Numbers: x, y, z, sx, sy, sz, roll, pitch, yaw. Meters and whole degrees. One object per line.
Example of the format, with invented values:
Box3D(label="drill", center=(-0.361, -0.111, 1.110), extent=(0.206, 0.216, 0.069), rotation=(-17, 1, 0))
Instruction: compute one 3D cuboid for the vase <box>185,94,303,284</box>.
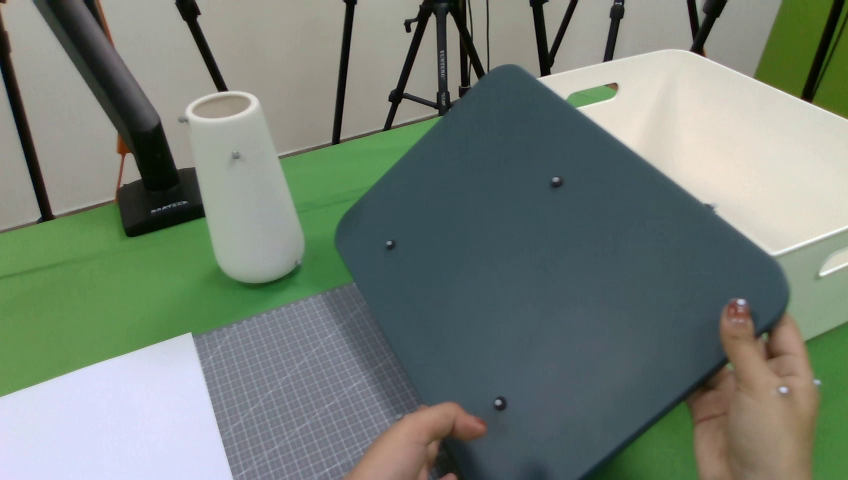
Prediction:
Box3D(label="vase", center=(-0.191, -0.049, 0.645), extent=(0.098, 0.202, 0.097), rotation=(-3, 36, 3))

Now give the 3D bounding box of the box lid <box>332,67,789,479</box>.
Box3D(label="box lid", center=(0.070, 0.014, 0.516), extent=(0.263, 0.015, 0.367), rotation=(-44, 47, 7))

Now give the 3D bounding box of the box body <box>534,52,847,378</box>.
Box3D(label="box body", center=(0.279, -0.051, 0.646), extent=(0.255, 0.162, 0.359), rotation=(-17, 39, -18))

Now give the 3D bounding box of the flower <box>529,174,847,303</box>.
Box3D(label="flower", center=(0.287, -0.003, 0.695), extent=(0.359, 0.038, 0.044), rotation=(24, 38, 25))

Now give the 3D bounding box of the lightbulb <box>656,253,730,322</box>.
Box3D(label="lightbulb", center=(0.263, 0.041, 0.608), extent=(0.059, 0.060, 0.107), rotation=(-3, 21, 0))
